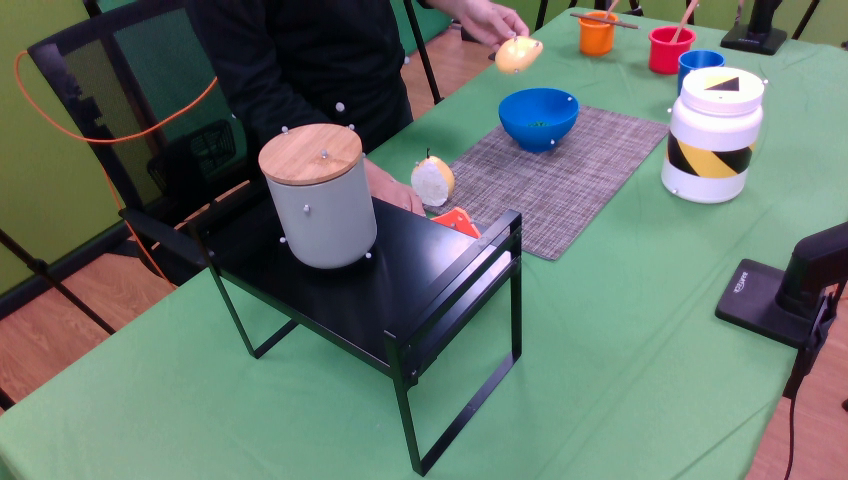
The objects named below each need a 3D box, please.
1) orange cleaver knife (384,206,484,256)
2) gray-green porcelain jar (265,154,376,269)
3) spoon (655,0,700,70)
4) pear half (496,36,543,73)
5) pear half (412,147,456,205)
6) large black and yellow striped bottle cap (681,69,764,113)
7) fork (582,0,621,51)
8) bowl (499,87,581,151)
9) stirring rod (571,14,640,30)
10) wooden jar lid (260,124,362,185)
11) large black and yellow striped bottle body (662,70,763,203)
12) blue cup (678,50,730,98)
[{"bbox_3d":[0.011,-0.009,0.941,0.012,0.077,0.210,-37,20,-35],"label":"orange cleaver knife"},{"bbox_3d":[-0.112,-0.039,0.685,0.106,0.127,0.105,-4,40,4],"label":"gray-green porcelain jar"},{"bbox_3d":[0.568,-0.463,1.337,0.041,0.022,0.193,30,97,37],"label":"spoon"},{"bbox_3d":[0.167,-0.338,1.083,0.087,0.031,0.070,-14,76,27],"label":"pear half"},{"bbox_3d":[0.019,-0.120,1.042,0.076,0.110,0.056,11,43,16],"label":"pear half"},{"bbox_3d":[0.453,-0.229,0.921,0.115,0.019,0.114,-4,39,4],"label":"large black and yellow striped bottle cap"},{"bbox_3d":[0.446,-0.539,1.438,0.207,0.019,0.028,-57,36,12],"label":"fork"},{"bbox_3d":[0.220,-0.223,1.156,0.151,0.077,0.150,-4,40,4],"label":"bowl"},{"bbox_3d":[0.419,-0.508,1.404,0.174,0.006,0.014,28,55,35],"label":"stirring rod"},{"bbox_3d":[-0.119,-0.088,0.644,0.108,0.021,0.108,-4,40,3],"label":"wooden jar lid"},{"bbox_3d":[0.464,-0.166,0.976,0.131,0.185,0.130,-5,41,5],"label":"large black and yellow striped bottle body"},{"bbox_3d":[0.542,-0.310,1.194,0.092,0.101,0.092,-6,41,6],"label":"blue cup"}]
